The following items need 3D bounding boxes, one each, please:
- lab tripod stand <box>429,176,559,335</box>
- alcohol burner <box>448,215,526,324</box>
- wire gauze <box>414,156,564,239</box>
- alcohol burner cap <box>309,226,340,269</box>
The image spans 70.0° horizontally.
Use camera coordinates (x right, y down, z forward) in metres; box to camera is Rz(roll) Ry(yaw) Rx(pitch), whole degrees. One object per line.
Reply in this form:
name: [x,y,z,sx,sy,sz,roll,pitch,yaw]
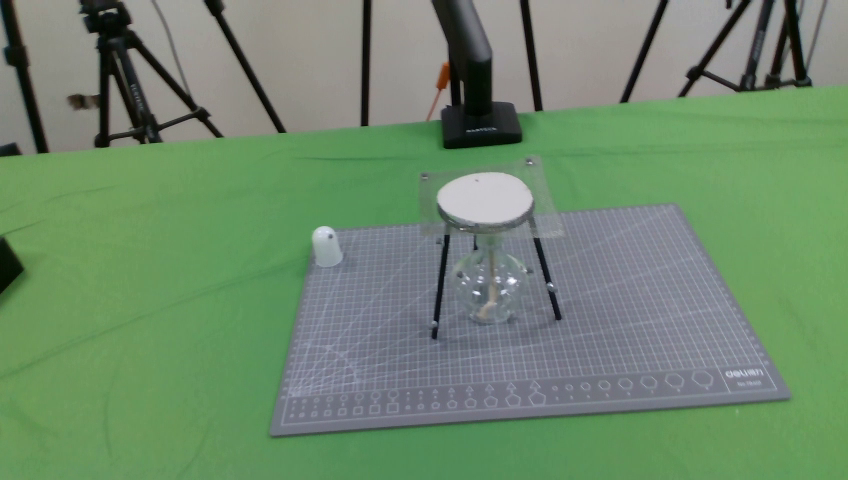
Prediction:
lab tripod stand: [0.062,0.015,0.592,0.148,0.132,0.147,-2,37,2]
alcohol burner: [0.062,0.025,0.596,0.078,0.120,0.077,-2,38,2]
wire gauze: [0.054,-0.038,0.550,0.125,0.011,0.120,-4,38,1]
alcohol burner cap: [-0.117,0.006,0.703,0.034,0.048,0.033,-3,39,3]
